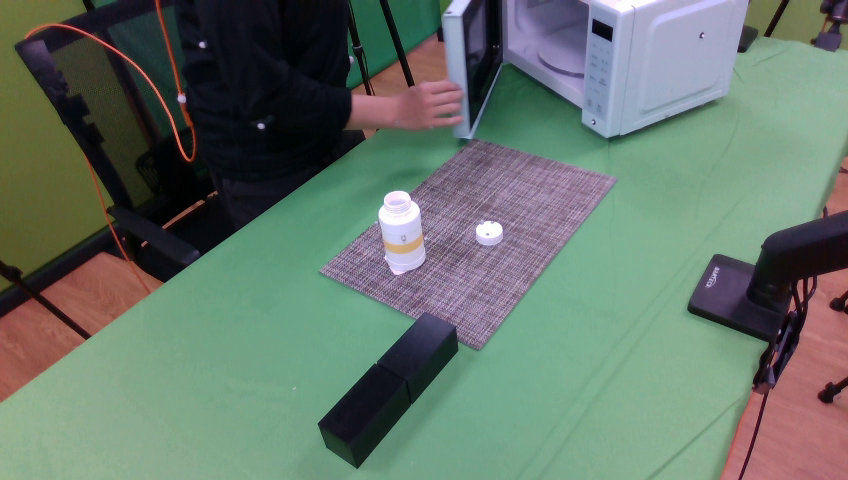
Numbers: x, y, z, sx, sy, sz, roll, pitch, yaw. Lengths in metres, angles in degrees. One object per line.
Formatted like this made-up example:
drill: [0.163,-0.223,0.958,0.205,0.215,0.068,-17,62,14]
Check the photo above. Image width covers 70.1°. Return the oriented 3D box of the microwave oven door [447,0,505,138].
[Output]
microwave oven door: [0.114,-0.404,1.229,0.039,0.245,0.355,5,42,16]

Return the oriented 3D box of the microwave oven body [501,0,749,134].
microwave oven body: [0.382,-0.444,1.246,0.327,0.261,0.437,-22,42,-16]

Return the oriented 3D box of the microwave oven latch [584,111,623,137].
microwave oven latch: [0.337,-0.222,1.142,0.030,0.029,0.078,-21,42,-14]

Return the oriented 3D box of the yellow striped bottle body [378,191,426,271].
yellow striped bottle body: [-0.034,-0.016,0.910,0.063,0.121,0.062,-4,41,4]

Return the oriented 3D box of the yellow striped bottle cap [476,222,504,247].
yellow striped bottle cap: [0.105,-0.010,0.966,0.044,0.019,0.044,-3,39,3]
